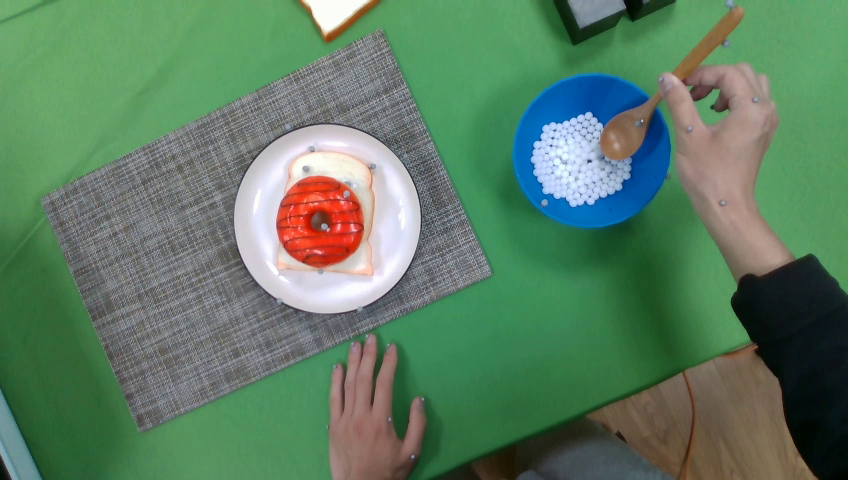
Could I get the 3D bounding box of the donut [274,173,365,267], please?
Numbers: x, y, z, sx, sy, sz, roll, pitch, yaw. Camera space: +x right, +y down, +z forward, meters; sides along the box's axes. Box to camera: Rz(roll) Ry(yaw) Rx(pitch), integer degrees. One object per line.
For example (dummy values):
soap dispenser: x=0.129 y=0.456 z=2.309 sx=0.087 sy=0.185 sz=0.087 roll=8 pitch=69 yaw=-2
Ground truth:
donut: x=-0.110 y=-0.021 z=0.637 sx=0.099 sy=0.048 sz=0.099 roll=0 pitch=91 yaw=6

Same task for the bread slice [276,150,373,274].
bread slice: x=-0.108 y=-0.030 z=0.665 sx=0.107 sy=0.018 sz=0.134 roll=0 pitch=91 yaw=5

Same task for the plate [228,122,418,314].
plate: x=-0.108 y=-0.023 z=0.665 sx=0.207 sy=0.039 sz=0.207 roll=0 pitch=91 yaw=5

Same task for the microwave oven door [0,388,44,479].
microwave oven door: x=-0.507 y=0.205 z=0.590 sx=0.039 sy=0.244 sz=0.355 roll=-27 pitch=88 yaw=5

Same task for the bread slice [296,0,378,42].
bread slice: x=-0.110 y=-0.304 z=0.677 sx=0.105 sy=0.019 sz=0.131 roll=-39 pitch=88 yaw=4

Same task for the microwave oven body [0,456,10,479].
microwave oven body: x=-0.656 y=0.232 z=0.609 sx=0.326 sy=0.260 sz=0.441 roll=-26 pitch=88 yaw=4

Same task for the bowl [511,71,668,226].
bowl: x=0.163 y=-0.088 z=0.622 sx=0.151 sy=0.077 sz=0.151 roll=0 pitch=90 yaw=5

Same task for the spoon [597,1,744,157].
spoon: x=0.208 y=-0.132 z=0.528 sx=0.021 sy=0.194 sz=0.041 roll=-31 pitch=78 yaw=-23
